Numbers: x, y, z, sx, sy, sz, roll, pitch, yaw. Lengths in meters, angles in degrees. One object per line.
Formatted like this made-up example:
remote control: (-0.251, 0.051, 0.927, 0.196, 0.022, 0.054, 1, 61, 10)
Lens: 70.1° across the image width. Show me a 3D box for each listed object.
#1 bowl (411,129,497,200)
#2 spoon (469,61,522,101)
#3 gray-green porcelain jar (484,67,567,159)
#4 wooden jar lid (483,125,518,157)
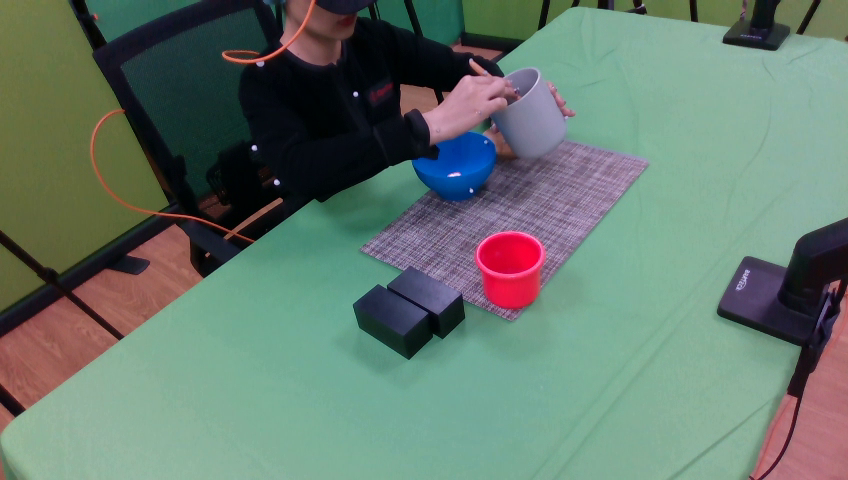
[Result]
bowl: (0.056, -0.124, 1.069, 0.151, 0.077, 0.150, -5, 40, 5)
spoon: (0.153, -0.240, 1.002, 0.195, 0.021, 0.041, 26, 46, -18)
gray-green porcelain jar: (0.178, -0.211, 1.032, 0.105, 0.127, 0.105, -26, 37, 21)
wooden jar lid: (0.165, -0.194, 1.177, 0.108, 0.021, 0.108, -4, 40, 4)
